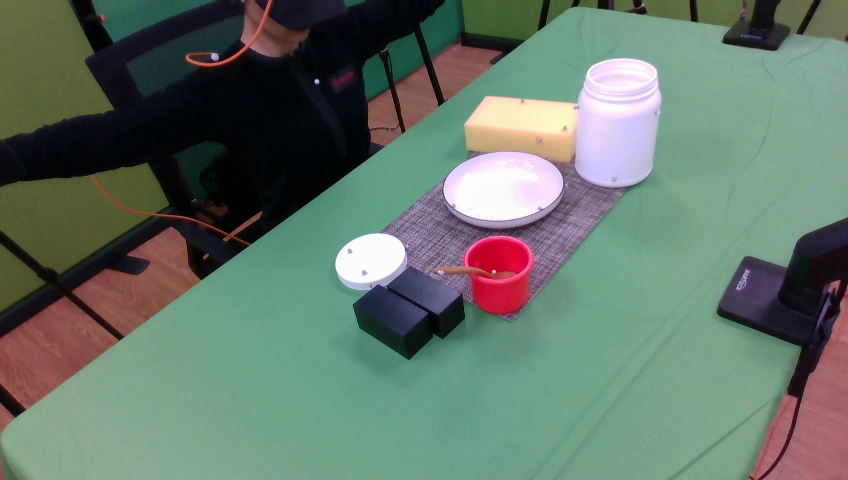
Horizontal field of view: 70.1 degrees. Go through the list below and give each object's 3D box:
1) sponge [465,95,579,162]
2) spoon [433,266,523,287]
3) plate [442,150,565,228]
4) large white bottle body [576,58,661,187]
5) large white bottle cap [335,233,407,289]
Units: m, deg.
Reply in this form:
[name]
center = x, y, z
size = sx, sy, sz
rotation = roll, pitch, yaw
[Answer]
[sponge]
center = 0.197, -0.218, 1.167
size = 0.206, 0.061, 0.118
rotation = 11, 44, 22
[spoon]
center = 0.074, 0.045, 0.815
size = 0.041, 0.021, 0.195
rotation = 32, 12, 38
[plate]
center = 0.136, -0.085, 1.039
size = 0.209, 0.038, 0.208
rotation = -5, 40, 5
[large white bottle body]
center = 0.326, -0.197, 1.021
size = 0.130, 0.185, 0.130
rotation = -5, 40, 5
[large white bottle cap]
center = -0.085, 0.032, 0.961
size = 0.115, 0.018, 0.114
rotation = -6, 42, 6
